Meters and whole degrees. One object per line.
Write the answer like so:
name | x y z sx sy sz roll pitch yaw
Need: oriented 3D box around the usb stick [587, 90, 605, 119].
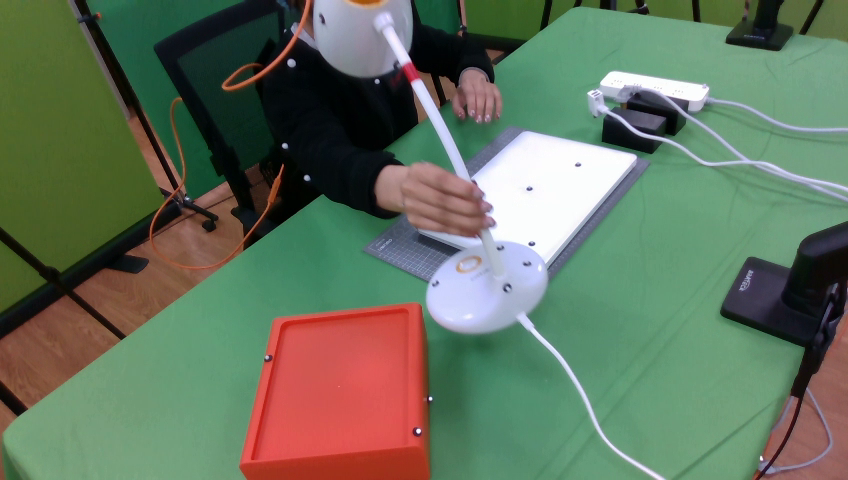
usb stick | 0.334 -0.258 1.171 0.021 0.059 0.027 -28 44 -4

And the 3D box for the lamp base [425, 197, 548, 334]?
lamp base | 0.060 0.003 0.714 0.161 0.181 0.177 -35 39 -16

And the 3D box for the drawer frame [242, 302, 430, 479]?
drawer frame | -0.095 0.184 0.739 0.202 0.083 0.212 -7 41 3

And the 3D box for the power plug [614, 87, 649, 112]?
power plug | 0.406 -0.275 1.192 0.035 0.053 0.072 -16 24 -16

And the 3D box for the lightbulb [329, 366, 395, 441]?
lightbulb | -0.080 0.195 0.738 0.060 0.060 0.107 -32 61 -25

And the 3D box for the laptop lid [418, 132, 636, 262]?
laptop lid | 0.181 -0.084 1.036 0.239 0.013 0.358 22 49 35

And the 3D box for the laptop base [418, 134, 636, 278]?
laptop base | 0.185 -0.074 1.042 0.233 0.023 0.355 19 47 35

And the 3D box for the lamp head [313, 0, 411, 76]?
lamp head | -0.063 -0.245 0.635 0.113 0.112 0.122 -18 -4 -10

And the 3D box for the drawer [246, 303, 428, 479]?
drawer | -0.097 0.184 0.743 0.194 0.073 0.210 -6 41 3

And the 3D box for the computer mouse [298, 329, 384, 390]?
computer mouse | -0.111 0.156 0.798 0.117 0.041 0.062 -15 41 1

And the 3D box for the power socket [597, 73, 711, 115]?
power socket | 0.469 -0.304 1.249 0.225 0.033 0.072 20 49 30
